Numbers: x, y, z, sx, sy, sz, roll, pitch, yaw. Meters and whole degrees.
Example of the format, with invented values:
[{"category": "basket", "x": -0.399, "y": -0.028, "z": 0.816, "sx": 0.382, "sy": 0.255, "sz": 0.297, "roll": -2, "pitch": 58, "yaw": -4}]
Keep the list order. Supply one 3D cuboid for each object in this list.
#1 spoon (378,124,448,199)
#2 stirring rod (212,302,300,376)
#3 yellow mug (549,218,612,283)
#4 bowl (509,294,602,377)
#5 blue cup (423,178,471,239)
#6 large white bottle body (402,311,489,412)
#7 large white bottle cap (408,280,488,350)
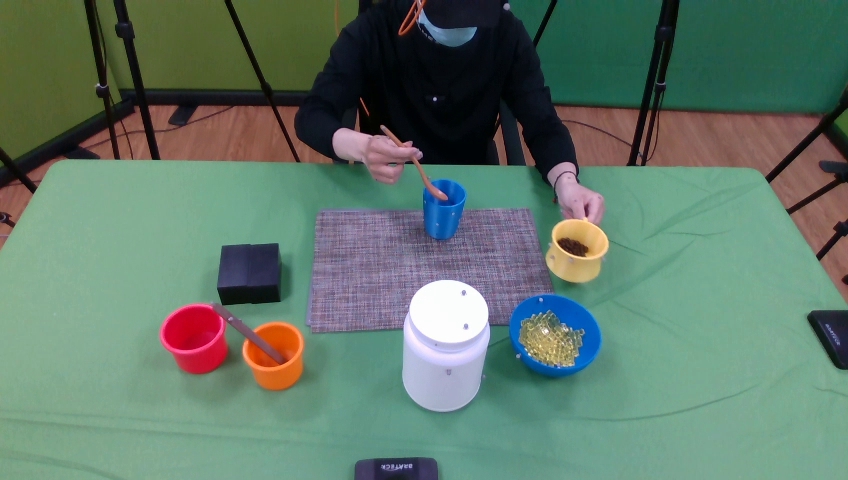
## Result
[{"category": "spoon", "x": -0.018, "y": -0.141, "z": 1.100, "sx": 0.021, "sy": 0.195, "sz": 0.041, "roll": -33, "pitch": 29, "yaw": 13}, {"category": "stirring rod", "x": -0.261, "y": 0.156, "z": 0.948, "sx": 0.177, "sy": 0.006, "sz": 0.014, "roll": 45, "pitch": 45, "yaw": -20}, {"category": "yellow mug", "x": 0.288, "y": 0.010, "z": 1.111, "sx": 0.100, "sy": 0.064, "sz": 0.130, "roll": 16, "pitch": 47, "yaw": 11}, {"category": "bowl", "x": 0.211, "y": 0.171, "z": 1.007, "sx": 0.151, "sy": 0.077, "sz": 0.150, "roll": 2, "pitch": 46, "yaw": -2}, {"category": "blue cup", "x": 0.036, "y": -0.056, "z": 1.192, "sx": 0.093, "sy": 0.101, "sz": 0.092, "roll": 3, "pitch": 45, "yaw": -3}, {"category": "large white bottle body", "x": 0.031, "y": 0.163, "z": 0.928, "sx": 0.131, "sy": 0.185, "sz": 0.130, "roll": 2, "pitch": 46, "yaw": -2}, {"category": "large white bottle cap", "x": 0.034, "y": 0.105, "z": 0.866, "sx": 0.115, "sy": 0.018, "sz": 0.114, "roll": 2, "pitch": 46, "yaw": -1}]
